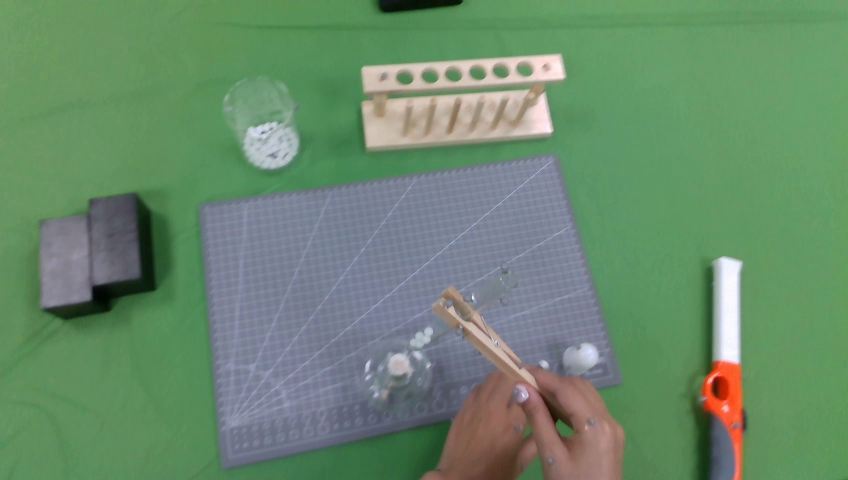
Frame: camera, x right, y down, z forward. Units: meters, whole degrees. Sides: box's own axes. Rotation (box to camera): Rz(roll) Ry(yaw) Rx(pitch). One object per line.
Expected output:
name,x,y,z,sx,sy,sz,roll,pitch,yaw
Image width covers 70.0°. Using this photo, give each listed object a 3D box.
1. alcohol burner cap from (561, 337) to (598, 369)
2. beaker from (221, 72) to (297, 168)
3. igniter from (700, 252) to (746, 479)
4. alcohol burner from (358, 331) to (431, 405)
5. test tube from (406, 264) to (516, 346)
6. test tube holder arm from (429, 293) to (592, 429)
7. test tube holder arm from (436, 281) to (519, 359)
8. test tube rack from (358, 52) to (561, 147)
alcohol burner cap,0.179,0.127,0.688,0.034,0.048,0.033,2,70,-5
beaker,-0.188,-0.133,0.708,0.074,0.100,0.083,-7,73,-8
igniter,0.351,0.146,0.711,0.057,0.025,0.275,14,71,-11
alcohol burner,-0.030,0.130,0.628,0.078,0.119,0.077,2,70,-6
test tube,0.024,0.057,0.491,0.017,0.150,0.017,16,56,-25
test tube holder arm,0.074,0.103,0.500,0.179,0.015,0.013,42,46,-13
test tube holder arm,0.044,0.069,0.495,0.088,0.015,0.010,48,44,-7
test tube rack,0.043,-0.174,0.754,0.243,0.085,0.066,-6,73,-8
